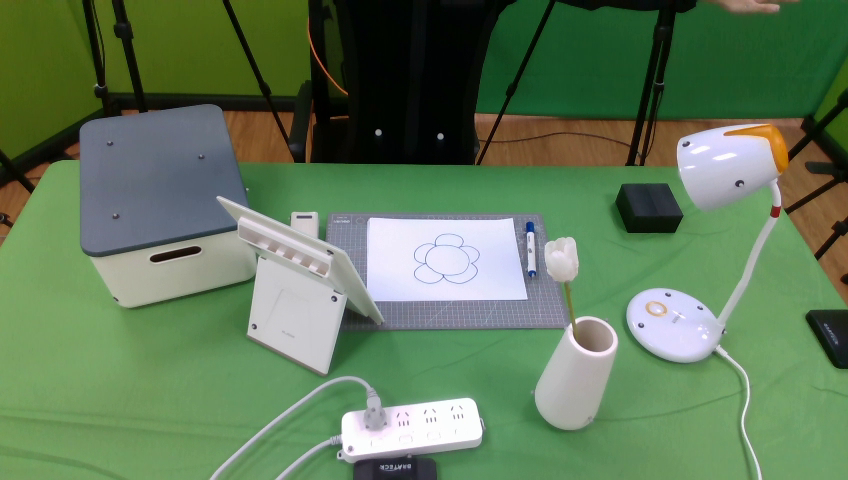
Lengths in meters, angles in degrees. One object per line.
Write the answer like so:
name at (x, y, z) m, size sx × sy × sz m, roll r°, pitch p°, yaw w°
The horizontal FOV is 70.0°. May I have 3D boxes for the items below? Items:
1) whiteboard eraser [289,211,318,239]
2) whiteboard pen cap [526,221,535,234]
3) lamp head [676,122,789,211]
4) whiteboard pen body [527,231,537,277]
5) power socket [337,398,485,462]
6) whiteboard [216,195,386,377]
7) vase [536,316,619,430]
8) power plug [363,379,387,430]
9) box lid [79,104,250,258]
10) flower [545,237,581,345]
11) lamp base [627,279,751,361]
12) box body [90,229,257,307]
whiteboard eraser at (-0.234, -0.007, 1.172) m, size 0.055 × 0.042 × 0.112 m, roll -3°, pitch 47°, yaw -5°
whiteboard pen cap at (0.216, -0.022, 1.234) m, size 0.018 × 0.018 × 0.033 m, roll 6°, pitch 44°, yaw 1°
lamp head at (0.423, -0.104, 0.819) m, size 0.122 × 0.113 × 0.112 m, roll -13°, pitch 33°, yaw 40°
whiteboard pen body at (0.211, 0.018, 1.191) m, size 0.017 × 0.017 × 0.140 m, roll 6°, pitch 44°, yaw 2°
power socket at (-0.018, 0.285, 0.914) m, size 0.227 × 0.033 × 0.071 m, roll -4°, pitch 46°, yaw -8°
whiteboard at (-0.212, 0.094, 0.938) m, size 0.216 × 0.307 × 0.143 m, roll 24°, pitch 70°, yaw 17°
vase at (0.229, 0.200, 0.901) m, size 0.098 × 0.201 × 0.097 m, roll 3°, pitch 46°, yaw -3°
power plug at (-0.071, 0.252, 0.911) m, size 0.035 × 0.053 × 0.072 m, roll 3°, pitch 40°, yaw 0°
box lid at (-0.467, -0.121, 1.075) m, size 0.264 × 0.015 × 0.369 m, roll -13°, pitch 49°, yaw -17°
flower at (0.213, 0.137, 0.846) m, size 0.038 × 0.364 × 0.044 m, roll 21°, pitch 55°, yaw 40°
lamp base at (0.460, 0.100, 1.027) m, size 0.178 × 0.181 × 0.160 m, roll 27°, pitch 51°, yaw 17°
box body at (-0.471, -0.070, 1.131) m, size 0.254 × 0.161 × 0.361 m, roll -14°, pitch 49°, yaw -17°
